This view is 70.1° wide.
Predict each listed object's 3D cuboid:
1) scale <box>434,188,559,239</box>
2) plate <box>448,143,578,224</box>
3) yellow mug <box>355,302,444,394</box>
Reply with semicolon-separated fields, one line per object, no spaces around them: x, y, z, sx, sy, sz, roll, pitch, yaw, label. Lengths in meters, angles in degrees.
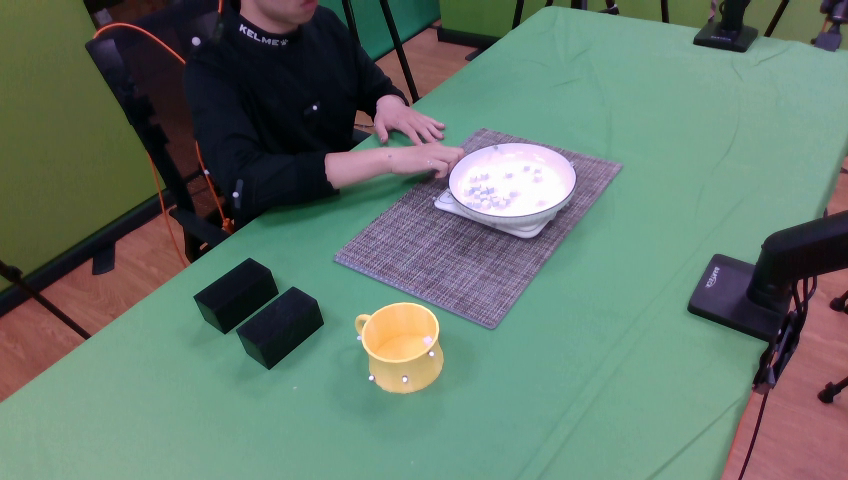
0.132;-0.075;1.025;0.199;0.032;0.149;22;48;30;scale
0.145;-0.089;0.989;0.209;0.038;0.208;-4;41;4;plate
-0.040;0.133;0.786;0.130;0.064;0.100;20;47;29;yellow mug
